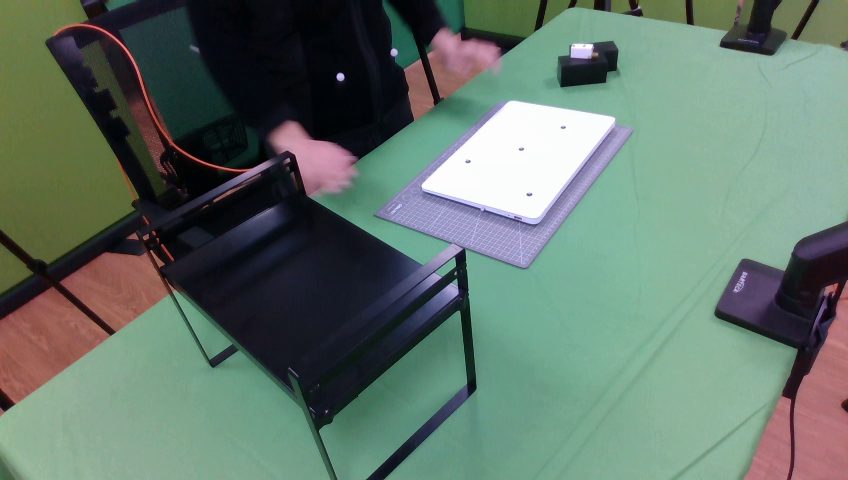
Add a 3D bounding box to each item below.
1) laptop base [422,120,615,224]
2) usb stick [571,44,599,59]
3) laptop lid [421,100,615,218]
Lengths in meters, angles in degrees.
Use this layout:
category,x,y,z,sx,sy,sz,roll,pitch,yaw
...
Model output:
category,x,y,z,sx,sy,sz,roll,pitch,yaw
laptop base,0.185,-0.158,1.133,0.234,0.023,0.355,17,46,30
usb stick,0.352,-0.412,1.322,0.059,0.027,0.021,13,44,19
laptop lid,0.182,-0.167,1.126,0.240,0.013,0.357,19,47,31
